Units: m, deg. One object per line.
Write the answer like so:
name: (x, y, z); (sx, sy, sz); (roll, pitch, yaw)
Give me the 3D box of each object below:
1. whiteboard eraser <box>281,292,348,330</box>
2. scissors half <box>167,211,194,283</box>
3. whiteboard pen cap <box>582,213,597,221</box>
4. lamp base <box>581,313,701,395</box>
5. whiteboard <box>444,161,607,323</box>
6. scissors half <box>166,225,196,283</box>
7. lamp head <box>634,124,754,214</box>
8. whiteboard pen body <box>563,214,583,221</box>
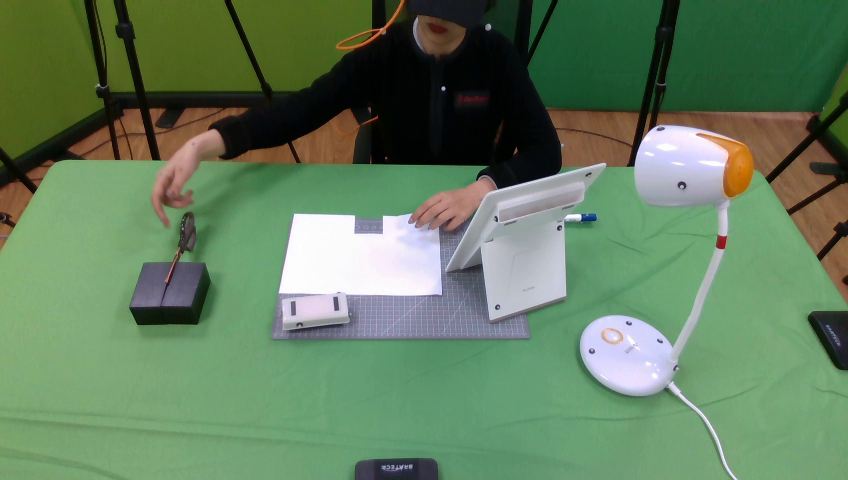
whiteboard eraser: (-0.189, 0.124, 1.045); (0.113, 0.042, 0.055); (-6, 46, -10)
scissors half: (-0.440, 0.010, 1.094); (0.013, 0.040, 0.174); (6, 48, -9)
whiteboard pen cap: (0.342, -0.048, 1.260); (0.033, 0.018, 0.018); (-3, 46, -3)
lamp base: (0.361, 0.144, 0.972); (0.178, 0.181, 0.160); (34, 53, 23)
whiteboard: (0.186, 0.025, 1.029); (0.217, 0.306, 0.143); (-14, 68, -18)
scissors half: (-0.444, 0.026, 1.107); (0.013, 0.040, 0.174); (3, 30, -5)
lamp head: (0.351, -0.089, 0.776); (0.112, 0.113, 0.122); (-30, 30, -28)
whiteboard pen body: (0.283, -0.047, 1.257); (0.141, 0.017, 0.017); (-1, 46, -2)
